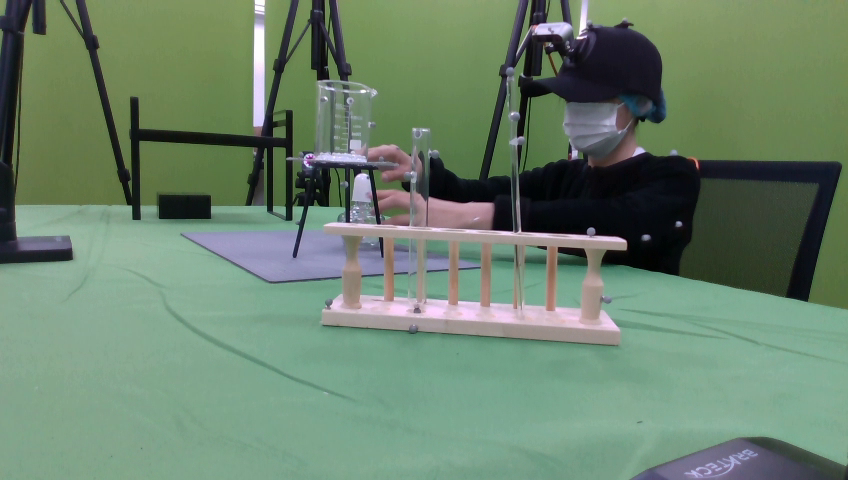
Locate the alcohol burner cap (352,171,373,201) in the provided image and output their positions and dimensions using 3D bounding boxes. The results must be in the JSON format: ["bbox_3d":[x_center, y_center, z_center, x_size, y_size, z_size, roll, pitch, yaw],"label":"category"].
[{"bbox_3d":[-0.096,-0.084,0.951,0.034,0.048,0.034,4,4,0],"label":"alcohol burner cap"}]

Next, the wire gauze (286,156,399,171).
[{"bbox_3d":[-0.101,-0.103,0.788,0.121,0.011,0.125,5,4,6],"label":"wire gauze"}]

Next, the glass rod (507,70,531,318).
[{"bbox_3d":[0.076,-0.031,0.476,0.008,0.199,0.008,-6,12,2],"label":"glass rod"}]

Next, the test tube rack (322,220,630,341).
[{"bbox_3d":[0.041,0.029,0.512,0.242,0.085,0.067,3,7,5],"label":"test tube rack"}]

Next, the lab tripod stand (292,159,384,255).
[{"bbox_3d":[-0.105,-0.039,0.797,0.148,0.131,0.148,2,5,0],"label":"lab tripod stand"}]

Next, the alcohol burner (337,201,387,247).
[{"bbox_3d":[-0.098,-0.049,0.954,0.078,0.119,0.078,0,6,0],"label":"alcohol burner"}]

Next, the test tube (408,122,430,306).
[{"bbox_3d":[-0.004,-0.019,0.489,0.017,0.150,0.017,1,11,0],"label":"test tube"}]

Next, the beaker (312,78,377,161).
[{"bbox_3d":[-0.103,-0.151,0.775,0.084,0.100,0.074,5,7,14],"label":"beaker"}]
